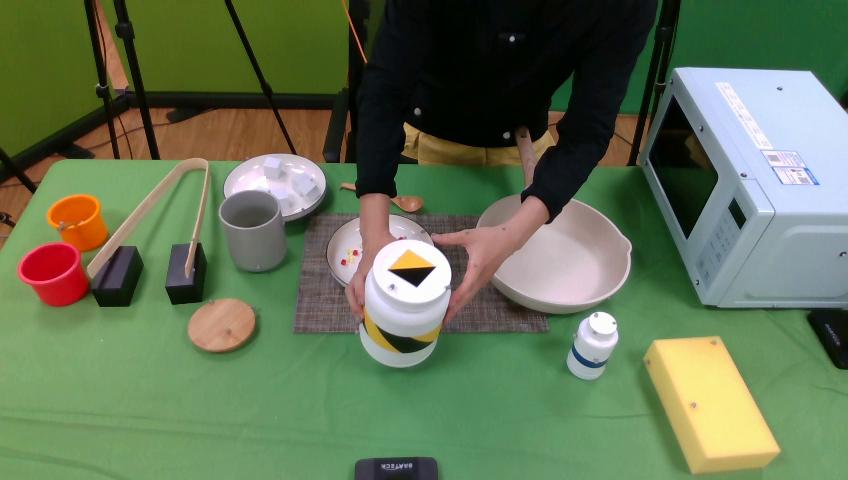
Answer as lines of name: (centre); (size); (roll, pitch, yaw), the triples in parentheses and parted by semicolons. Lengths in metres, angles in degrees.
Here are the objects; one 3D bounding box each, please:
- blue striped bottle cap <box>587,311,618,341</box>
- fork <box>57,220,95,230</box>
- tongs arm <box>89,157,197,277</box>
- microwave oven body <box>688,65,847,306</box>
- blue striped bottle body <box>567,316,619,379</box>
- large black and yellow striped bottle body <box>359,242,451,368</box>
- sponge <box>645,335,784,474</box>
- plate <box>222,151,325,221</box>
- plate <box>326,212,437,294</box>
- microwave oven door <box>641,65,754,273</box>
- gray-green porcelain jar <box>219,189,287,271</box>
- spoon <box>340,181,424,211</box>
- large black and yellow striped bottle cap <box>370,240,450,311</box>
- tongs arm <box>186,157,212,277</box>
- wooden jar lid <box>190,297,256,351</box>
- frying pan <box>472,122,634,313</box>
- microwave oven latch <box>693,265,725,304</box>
blue striped bottle cap: (0.279, 0.134, 0.947); (0.044, 0.021, 0.044); (2, 45, -2)
fork: (-0.624, -0.027, 1.087); (0.028, 0.207, 0.018); (-3, 92, -17)
tongs arm: (-0.530, -0.058, 1.163); (0.028, 0.028, 0.385); (1, 36, 7)
microwave oven body: (0.669, -0.111, 1.176); (0.326, 0.261, 0.439); (0, 46, -3)
blue striped bottle body: (0.276, 0.168, 0.984); (0.063, 0.121, 0.062); (2, 46, -2)
large black and yellow striped bottle body: (-0.031, 0.100, 0.933); (0.131, 0.185, 0.130); (5, 51, -6)
sponge: (0.449, 0.253, 0.956); (0.118, 0.061, 0.205); (-4, 46, -7)
plate: (-0.310, -0.106, 1.263); (0.208, 0.039, 0.206); (2, 47, -2)
plate: (-0.080, 0.030, 1.143); (0.209, 0.038, 0.208); (3, 46, -2)
microwave oven door: (0.524, -0.148, 1.193); (0.039, 0.245, 0.353); (0, 47, -3)
gray-green porcelain jar: (-0.309, -0.014, 1.113); (0.106, 0.127, 0.105); (2, 46, -2)
spoon: (-0.090, -0.100, 1.282); (0.193, 0.022, 0.041); (18, 66, 12)
large black and yellow striped bottle cap: (-0.019, 0.049, 0.868); (0.115, 0.019, 0.114); (6, 50, -7)
tongs arm: (-0.445, -0.058, 1.168); (0.051, 0.026, 0.382); (-4, 37, -6)
wooden jar lid: (-0.342, 0.145, 1.033); (0.108, 0.021, 0.107); (3, 45, -2)
frying pan: (0.235, -0.061, 1.207); (0.307, 0.103, 0.484); (1, 55, -6)
microwave oven latch: (0.523, 0.081, 1.116); (0.030, 0.029, 0.078); (2, 46, -1)
